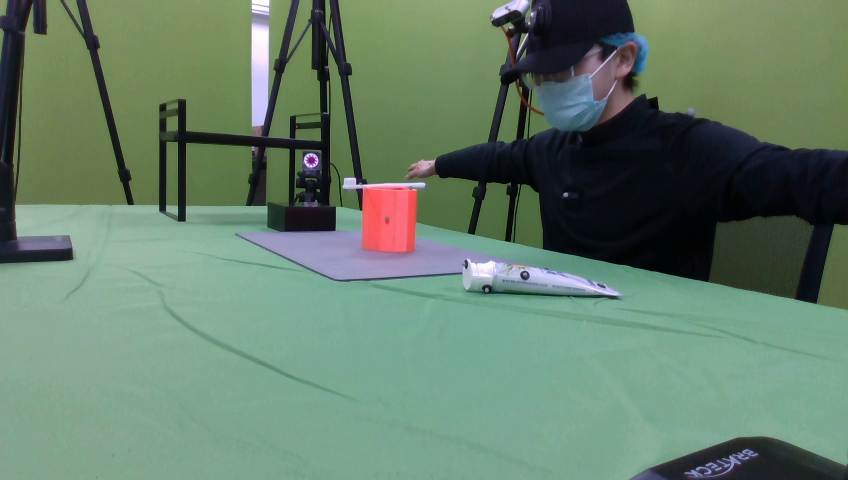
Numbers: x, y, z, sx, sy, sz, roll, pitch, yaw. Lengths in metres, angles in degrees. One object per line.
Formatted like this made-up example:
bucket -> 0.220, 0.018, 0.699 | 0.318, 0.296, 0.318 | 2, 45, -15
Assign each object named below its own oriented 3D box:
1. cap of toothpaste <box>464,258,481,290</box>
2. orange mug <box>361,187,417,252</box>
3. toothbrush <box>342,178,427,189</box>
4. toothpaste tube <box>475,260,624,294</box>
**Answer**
cap of toothpaste -> 0.053, 0.037, 0.660 | 0.011, 0.037, 0.037 | -1, 8, -15
orange mug -> -0.054, -0.039, 0.962 | 0.083, 0.101, 0.126 | 2, 12, 0
toothbrush -> -0.058, -0.089, 0.948 | 0.014, 0.016, 0.183 | 5, 7, 41
toothpaste tube -> 0.133, 0.045, 0.668 | 0.165, 0.034, 0.055 | 5, 14, -7
